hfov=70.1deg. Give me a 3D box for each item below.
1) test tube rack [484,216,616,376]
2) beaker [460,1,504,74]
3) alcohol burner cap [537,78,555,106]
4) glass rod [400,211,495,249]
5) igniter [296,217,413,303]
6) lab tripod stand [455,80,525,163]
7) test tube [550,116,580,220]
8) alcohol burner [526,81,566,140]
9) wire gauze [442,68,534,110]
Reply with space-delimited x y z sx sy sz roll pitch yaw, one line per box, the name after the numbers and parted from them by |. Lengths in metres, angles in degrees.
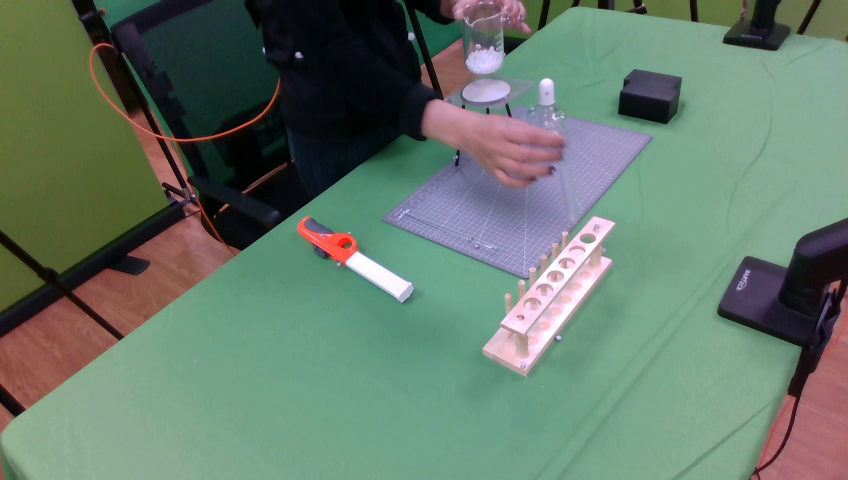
0.174 0.064 0.823 0.066 0.085 0.243 23 49 33 | test tube rack
0.099 -0.343 1.034 0.073 0.101 0.084 16 47 25 | beaker
0.229 -0.279 1.136 0.034 0.048 0.033 -6 34 4 | alcohol burner cap
0.035 -0.018 1.001 0.198 0.008 0.008 21 49 35 | glass rod
-0.121 0.025 0.970 0.274 0.025 0.057 29 63 37 | igniter
0.120 -0.219 1.126 0.148 0.132 0.147 -4 40 4 | lab tripod stand
0.184 -0.090 0.785 0.017 0.151 0.017 -14 31 9 | test tube
0.235 -0.252 1.159 0.078 0.119 0.077 -4 42 4 | alcohol burner
0.114 -0.269 1.081 0.120 0.011 0.125 21 48 29 | wire gauze
